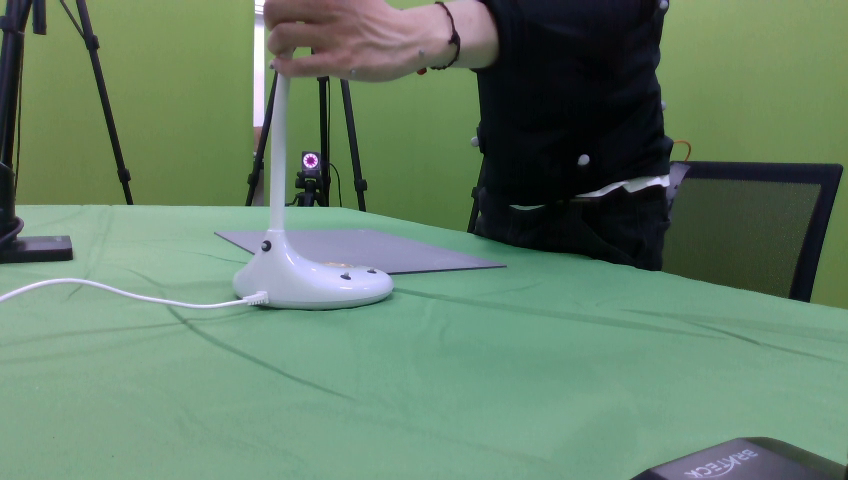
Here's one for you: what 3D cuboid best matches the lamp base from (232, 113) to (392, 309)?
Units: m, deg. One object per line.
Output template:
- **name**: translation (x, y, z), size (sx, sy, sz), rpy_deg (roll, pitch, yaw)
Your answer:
- **lamp base**: translation (-0.113, -0.031, 0.594), size (0.160, 0.180, 0.179), rpy_deg (5, 10, 18)
